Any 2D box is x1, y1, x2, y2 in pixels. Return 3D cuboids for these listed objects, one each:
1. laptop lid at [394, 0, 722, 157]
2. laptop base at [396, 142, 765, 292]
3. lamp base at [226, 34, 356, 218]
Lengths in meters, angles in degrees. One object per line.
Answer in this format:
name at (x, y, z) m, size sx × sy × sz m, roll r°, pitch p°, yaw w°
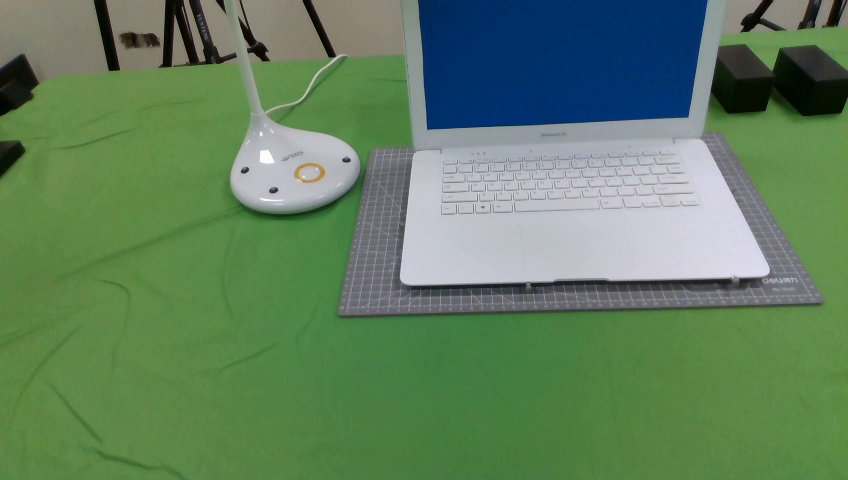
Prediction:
laptop lid at (0.148, -0.206, 0.691) m, size 0.356 × 0.244 × 0.013 m, roll -3°, pitch 33°, yaw 5°
laptop base at (0.152, -0.029, 0.667) m, size 0.354 × 0.023 × 0.233 m, roll -2°, pitch 44°, yaw 4°
lamp base at (-0.181, -0.142, 0.713) m, size 0.177 × 0.182 × 0.160 m, roll 25°, pitch 49°, yaw 35°
